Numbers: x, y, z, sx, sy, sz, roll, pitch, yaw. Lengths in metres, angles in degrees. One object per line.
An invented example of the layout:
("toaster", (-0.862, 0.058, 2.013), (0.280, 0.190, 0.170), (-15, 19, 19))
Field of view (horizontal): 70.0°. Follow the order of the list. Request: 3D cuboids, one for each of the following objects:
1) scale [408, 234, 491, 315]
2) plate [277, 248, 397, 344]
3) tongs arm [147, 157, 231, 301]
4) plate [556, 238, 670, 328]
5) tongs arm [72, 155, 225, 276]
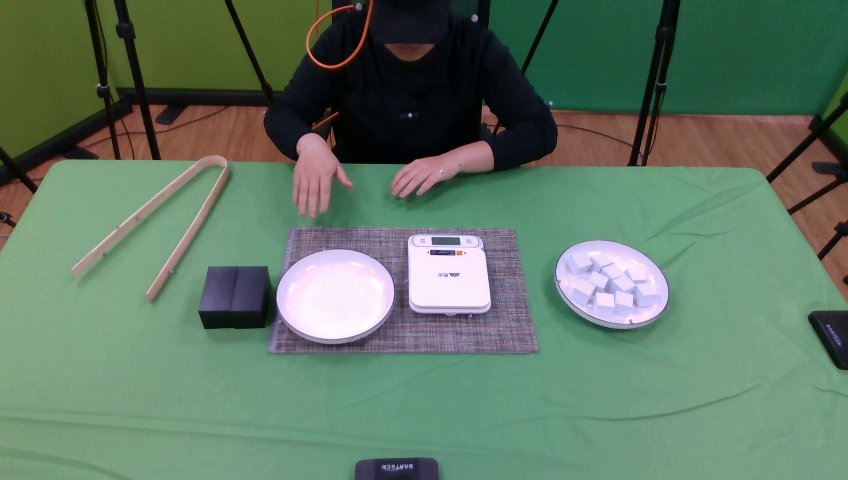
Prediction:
("scale", (0.045, 0.055, 1.135), (0.149, 0.032, 0.199), (1, 46, -3))
("plate", (-0.152, 0.101, 1.073), (0.208, 0.039, 0.206), (2, 46, -2))
("tongs arm", (-0.453, -0.036, 1.193), (0.028, 0.028, 0.385), (6, 46, 6))
("plate", (0.347, 0.083, 1.130), (0.209, 0.038, 0.208), (2, 47, -2))
("tongs arm", (-0.531, -0.058, 1.204), (0.050, 0.026, 0.383), (18, 47, 13))
